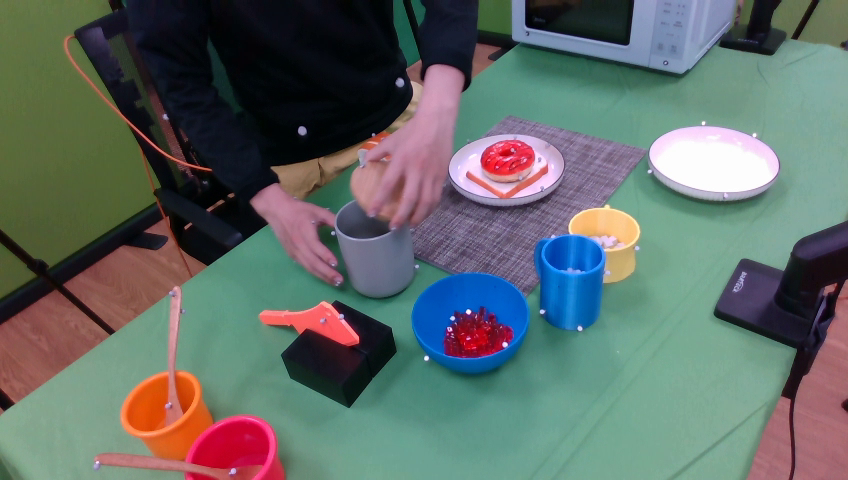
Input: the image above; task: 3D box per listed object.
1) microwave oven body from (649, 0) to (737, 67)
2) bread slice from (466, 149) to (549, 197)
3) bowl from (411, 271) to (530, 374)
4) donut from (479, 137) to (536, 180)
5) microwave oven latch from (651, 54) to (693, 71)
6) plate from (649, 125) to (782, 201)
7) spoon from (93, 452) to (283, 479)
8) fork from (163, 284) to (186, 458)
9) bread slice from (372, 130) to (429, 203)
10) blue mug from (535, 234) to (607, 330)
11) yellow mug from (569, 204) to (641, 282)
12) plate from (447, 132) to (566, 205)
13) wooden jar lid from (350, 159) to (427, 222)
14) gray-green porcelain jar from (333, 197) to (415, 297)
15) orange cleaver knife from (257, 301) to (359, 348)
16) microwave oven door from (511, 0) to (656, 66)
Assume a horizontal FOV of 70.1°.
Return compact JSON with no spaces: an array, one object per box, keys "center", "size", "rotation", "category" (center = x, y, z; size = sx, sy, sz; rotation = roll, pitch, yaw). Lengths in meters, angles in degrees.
[{"center":[0.475,-0.602,1.411],"size":[0.438,0.261,0.327],"rotation":[23,50,32],"category":"microwave oven body"},{"center":[0.156,-0.128,1.085],"size":[0.132,0.019,0.104],"rotation":[-34,48,-23],"category":"bread slice"},{"center":[0.062,0.120,0.780],"size":[0.151,0.077,0.150],"rotation":[-4,40,4],"category":"bowl"},{"center":[0.145,-0.143,1.056],"size":[0.099,0.048,0.098],"rotation":[-6,42,6],"category":"donut"},{"center":[0.532,-0.386,1.301],"size":[0.078,0.029,0.030],"rotation":[26,51,33],"category":"microwave oven latch"},{"center":[0.493,-0.127,1.036],"size":[0.207,0.039,0.206],"rotation":[-4,40,4],"category":"plate"},{"center":[-0.240,0.239,0.632],"size":[0.195,0.021,0.041],"rotation":[26,34,-32],"category":"spoon"},{"center":[-0.302,0.157,0.733],"size":[0.028,0.019,0.207],"rotation":[-3,84,15],"category":"fork"},{"center":[-0.043,-0.126,1.038],"size":[0.106,0.135,0.018],"rotation":[31,61,33],"category":"bread slice"},{"center":[0.191,0.048,0.824],"size":[0.082,0.106,0.115],"rotation":[-26,44,-20],"category":"blue mug"},{"center":[0.268,-0.005,0.904],"size":[0.099,0.064,0.130],"rotation":[7,41,15],"category":"yellow mug"},{"center":[0.146,-0.124,1.075],"size":[0.209,0.038,0.208],"rotation":[-4,41,4],"category":"plate"},{"center":[-0.049,-0.066,0.817],"size":[0.109,0.020,0.108],"rotation":[15,46,-15],"category":"wooden jar lid"},{"center":[-0.070,0.011,0.887],"size":[0.106,0.127,0.105],"rotation":[-4,41,4],"category":"gray-green porcelain jar"},{"center":[-0.160,0.115,0.813],"size":[0.210,0.077,0.012],"rotation":[-9,29,48],"category":"orange cleaver knife"},{"center":[0.351,-0.539,1.348],"size":[0.353,0.245,0.039],"rotation":[24,50,31],"category":"microwave oven door"}]
